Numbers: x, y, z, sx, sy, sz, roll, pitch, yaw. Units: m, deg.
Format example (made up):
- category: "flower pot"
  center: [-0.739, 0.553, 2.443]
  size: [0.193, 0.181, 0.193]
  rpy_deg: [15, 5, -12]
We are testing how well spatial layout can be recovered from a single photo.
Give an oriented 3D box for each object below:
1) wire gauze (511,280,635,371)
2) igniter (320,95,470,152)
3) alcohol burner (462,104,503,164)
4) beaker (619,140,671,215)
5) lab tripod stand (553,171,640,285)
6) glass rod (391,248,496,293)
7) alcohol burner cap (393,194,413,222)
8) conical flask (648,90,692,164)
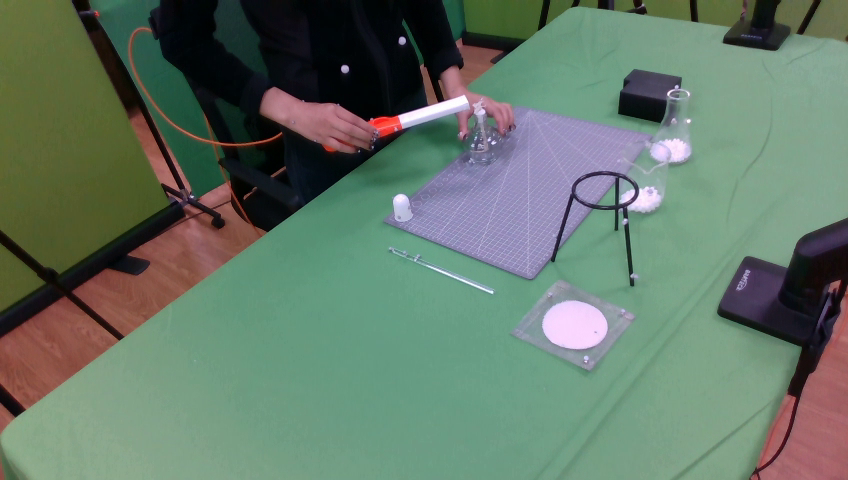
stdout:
- category: "wire gauze"
  center: [0.203, 0.114, 0.822]
  size: [0.120, 0.011, 0.125]
  rpy_deg: [25, 52, 35]
- category: "igniter"
  center: [-0.054, -0.210, 1.089]
  size: [0.277, 0.025, 0.057]
  rpy_deg: [-17, 43, -1]
- category: "alcohol burner"
  center: [0.109, -0.202, 1.127]
  size: [0.078, 0.119, 0.077]
  rpy_deg: [-5, 42, 5]
- category: "beaker"
  center: [0.352, -0.096, 0.971]
  size: [0.074, 0.101, 0.084]
  rpy_deg: [1, 42, 13]
- category: "lab tripod stand"
  center: [0.260, -0.025, 0.877]
  size: [0.148, 0.132, 0.147]
  rpy_deg: [-6, 38, 5]
- category: "glass rod"
  center: [0.026, 0.045, 0.937]
  size: [0.198, 0.008, 0.008]
  rpy_deg: [21, 49, 31]
- category: "alcohol burner cap"
  center: [-0.038, -0.057, 1.038]
  size: [0.034, 0.048, 0.033]
  rpy_deg: [-6, 41, 5]
- category: "conical flask"
  center: [0.437, -0.199, 1.057]
  size: [0.075, 0.122, 0.075]
  rpy_deg: [-5, 40, 5]
